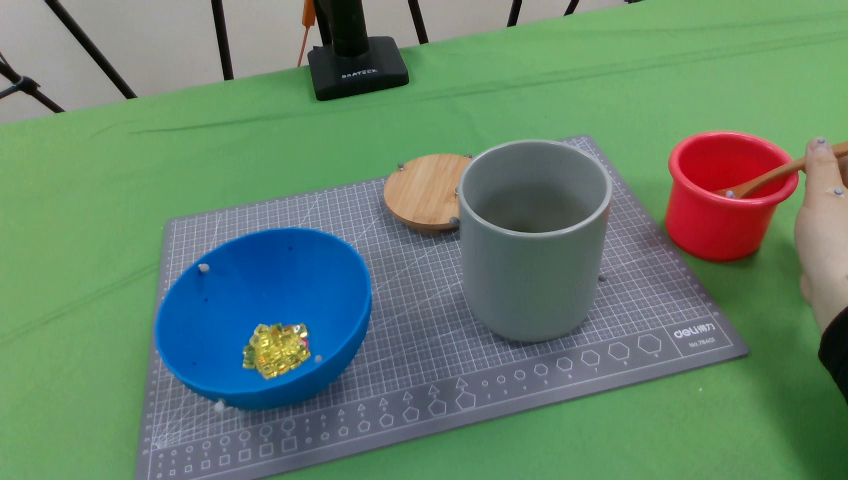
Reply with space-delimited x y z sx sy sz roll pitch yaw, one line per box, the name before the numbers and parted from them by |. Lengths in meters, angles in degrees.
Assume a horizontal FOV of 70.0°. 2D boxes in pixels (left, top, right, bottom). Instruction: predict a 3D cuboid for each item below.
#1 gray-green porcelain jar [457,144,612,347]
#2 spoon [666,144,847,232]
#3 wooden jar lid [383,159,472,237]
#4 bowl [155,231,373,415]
gray-green porcelain jar | 0.080 0.010 0.456 0.106 0.128 0.105 -4 44 4
spoon | 0.285 -0.048 0.482 0.022 0.193 0.041 43 48 -15
wooden jar lid | 0.015 -0.040 0.593 0.108 0.021 0.107 -4 43 4
bowl | -0.108 0.072 0.449 0.151 0.077 0.150 -3 44 4
